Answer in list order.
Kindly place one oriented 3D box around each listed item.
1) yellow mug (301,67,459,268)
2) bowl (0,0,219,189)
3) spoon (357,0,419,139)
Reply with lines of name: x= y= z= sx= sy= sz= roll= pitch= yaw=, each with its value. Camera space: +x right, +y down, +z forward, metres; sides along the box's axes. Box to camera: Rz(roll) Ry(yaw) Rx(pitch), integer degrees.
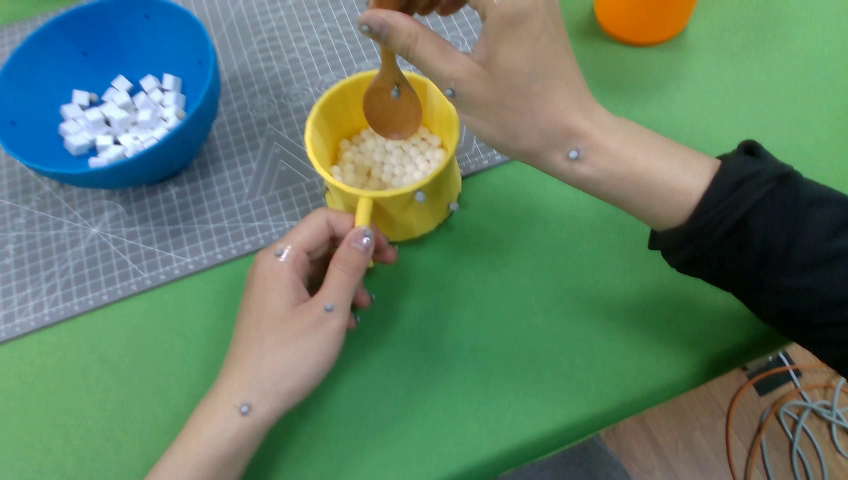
yellow mug: x=-0.029 y=-0.043 z=0.404 sx=0.100 sy=0.064 sz=0.130 roll=6 pitch=66 yaw=7
bowl: x=-0.210 y=-0.091 z=0.430 sx=0.151 sy=0.077 sz=0.150 roll=-1 pitch=65 yaw=3
spoon: x=-0.021 y=-0.107 z=0.330 sx=0.041 sy=0.194 sz=0.021 roll=12 pitch=74 yaw=1
